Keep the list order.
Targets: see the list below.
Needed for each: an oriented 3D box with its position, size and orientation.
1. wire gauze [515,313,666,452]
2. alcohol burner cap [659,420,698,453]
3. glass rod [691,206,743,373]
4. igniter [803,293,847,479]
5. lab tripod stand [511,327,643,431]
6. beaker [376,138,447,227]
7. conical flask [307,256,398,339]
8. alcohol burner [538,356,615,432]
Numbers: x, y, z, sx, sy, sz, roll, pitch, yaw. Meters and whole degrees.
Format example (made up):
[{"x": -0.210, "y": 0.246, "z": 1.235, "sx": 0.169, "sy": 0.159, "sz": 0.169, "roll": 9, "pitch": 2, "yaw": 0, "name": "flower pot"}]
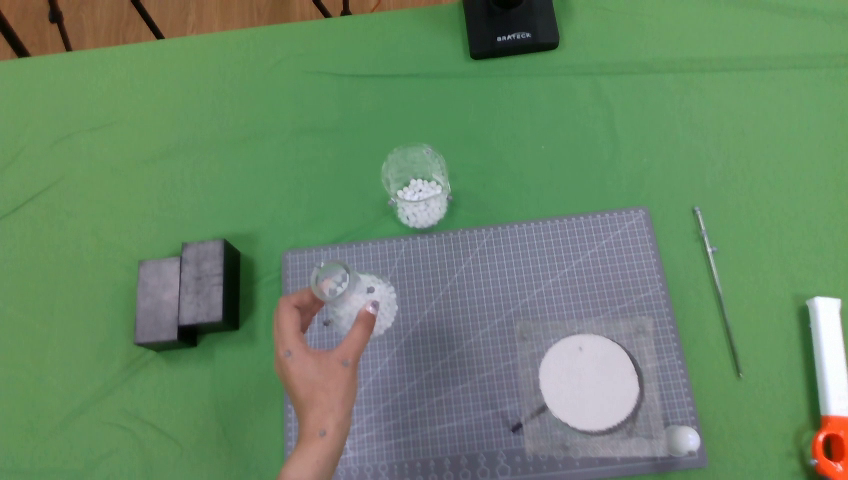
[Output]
[{"x": 0.147, "y": 0.127, "z": 0.543, "sx": 0.125, "sy": 0.011, "sz": 0.120, "roll": -2, "pitch": 73, "yaw": 5, "name": "wire gauze"}, {"x": 0.266, "y": 0.203, "z": 0.628, "sx": 0.034, "sy": 0.048, "sz": 0.033, "roll": -1, "pitch": 71, "yaw": 5, "name": "alcohol burner cap"}, {"x": 0.334, "y": 0.053, "z": 0.693, "sx": 0.008, "sy": 0.008, "sz": 0.198, "roll": -7, "pitch": 70, "yaw": 2, "name": "glass rod"}, {"x": 0.428, "y": 0.191, "z": 0.631, "sx": 0.057, "sy": 0.025, "sz": 0.275, "roll": 7, "pitch": 71, "yaw": -4, "name": "igniter"}, {"x": 0.154, "y": 0.150, "z": 0.606, "sx": 0.148, "sy": 0.132, "sz": 0.147, "roll": -1, "pitch": 73, "yaw": 5, "name": "lab tripod stand"}, {"x": -0.008, "y": -0.062, "z": 0.711, "sx": 0.083, "sy": 0.101, "sz": 0.074, "roll": 28, "pitch": 76, "yaw": 12, "name": "beaker"}, {"x": -0.071, "y": 0.049, "z": 0.568, "sx": 0.075, "sy": 0.123, "sz": 0.075, "roll": -2, "pitch": 73, "yaw": 8, "name": "conical flask"}, {"x": 0.156, "y": 0.154, "z": 0.615, "sx": 0.078, "sy": 0.120, "sz": 0.077, "roll": -2, "pitch": 71, "yaw": 6, "name": "alcohol burner"}]
